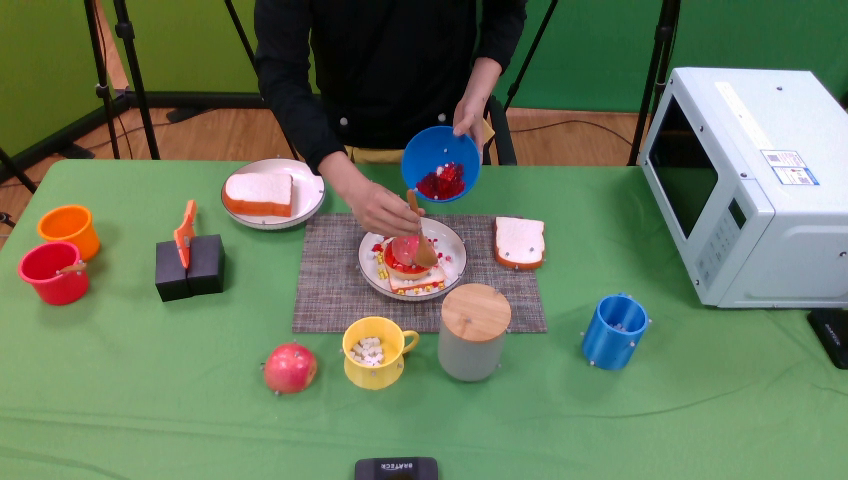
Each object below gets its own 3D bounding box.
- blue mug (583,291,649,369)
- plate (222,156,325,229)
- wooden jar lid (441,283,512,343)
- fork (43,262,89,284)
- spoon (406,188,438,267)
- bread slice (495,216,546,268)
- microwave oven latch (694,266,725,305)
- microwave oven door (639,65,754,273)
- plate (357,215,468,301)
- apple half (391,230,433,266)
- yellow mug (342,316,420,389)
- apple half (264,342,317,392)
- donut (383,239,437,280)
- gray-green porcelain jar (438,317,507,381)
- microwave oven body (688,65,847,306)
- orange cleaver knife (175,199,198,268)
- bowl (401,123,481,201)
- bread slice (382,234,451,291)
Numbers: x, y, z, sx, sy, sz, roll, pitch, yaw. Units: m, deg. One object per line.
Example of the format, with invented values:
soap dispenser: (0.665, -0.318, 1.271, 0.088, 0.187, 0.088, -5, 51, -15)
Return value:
blue mug: (0.324, 0.142, 1.023, 0.082, 0.106, 0.116, 15, 47, 11)
plate: (-0.308, -0.095, 1.251, 0.209, 0.038, 0.208, 2, 47, -2)
wooden jar lid: (0.080, 0.114, 0.931, 0.108, 0.021, 0.107, 1, 49, -1)
fork: (-0.599, 0.053, 1.014, 0.207, 0.019, 0.028, -14, 30, 45)
spoon: (-0.009, -0.016, 0.994, 0.041, 0.195, 0.021, -3, 46, 11)
bread slice: (0.194, 0.002, 1.205, 0.105, 0.019, 0.131, 5, 45, 3)
microwave oven latch: (0.523, 0.082, 1.115, 0.030, 0.029, 0.078, 3, 46, 0)
microwave oven door: (0.522, -0.147, 1.193, 0.039, 0.245, 0.353, 0, 47, -3)
plate: (-0.022, 0.037, 1.141, 0.208, 0.039, 0.206, 2, 46, -2)
apple half: (-0.021, 0.006, 1.083, 0.081, 0.033, 0.081, 7, 47, -7)
yellow mug: (-0.067, 0.178, 0.990, 0.131, 0.064, 0.099, -16, 49, -19)
apple half: (-0.214, 0.198, 0.970, 0.074, 0.053, 0.080, 19, 48, 10)
donut: (-0.025, 0.030, 1.109, 0.099, 0.048, 0.098, 3, 46, -2)
gray-green porcelain jar: (0.076, 0.158, 0.977, 0.106, 0.127, 0.105, 2, 47, -2)
microwave oven body: (0.669, -0.111, 1.176, 0.326, 0.261, 0.439, 0, 46, -3)
orange cleaver knife: (-0.438, -0.017, 1.138, 0.012, 0.077, 0.210, -14, 27, -7)
bowl: (0.037, -0.139, 1.161, 0.151, 0.077, 0.151, -1, 79, 7)
bread slice: (-0.025, 0.038, 1.138, 0.107, 0.018, 0.133, -13, 46, -17)
